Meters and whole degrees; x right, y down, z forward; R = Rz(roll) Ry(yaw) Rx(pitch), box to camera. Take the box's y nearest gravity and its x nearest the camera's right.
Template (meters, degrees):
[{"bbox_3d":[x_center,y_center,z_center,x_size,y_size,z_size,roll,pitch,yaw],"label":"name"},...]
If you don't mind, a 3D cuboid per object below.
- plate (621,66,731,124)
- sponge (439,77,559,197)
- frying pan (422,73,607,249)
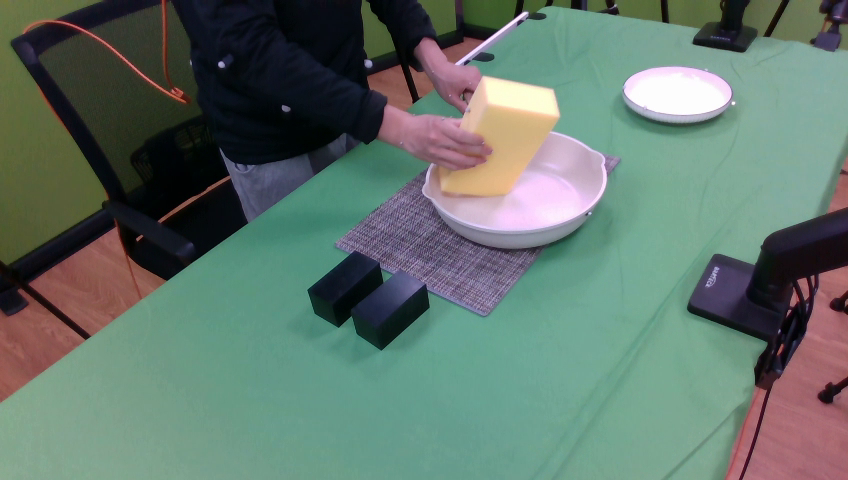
[{"bbox_3d":[0.503,-0.288,1.221,0.207,0.039,0.206,-4,41,4],"label":"plate"},{"bbox_3d":[0.112,-0.155,0.969,0.119,0.206,0.060,7,55,-18],"label":"sponge"},{"bbox_3d":[0.130,-0.161,1.069,0.307,0.103,0.484,-10,49,-5],"label":"frying pan"}]
